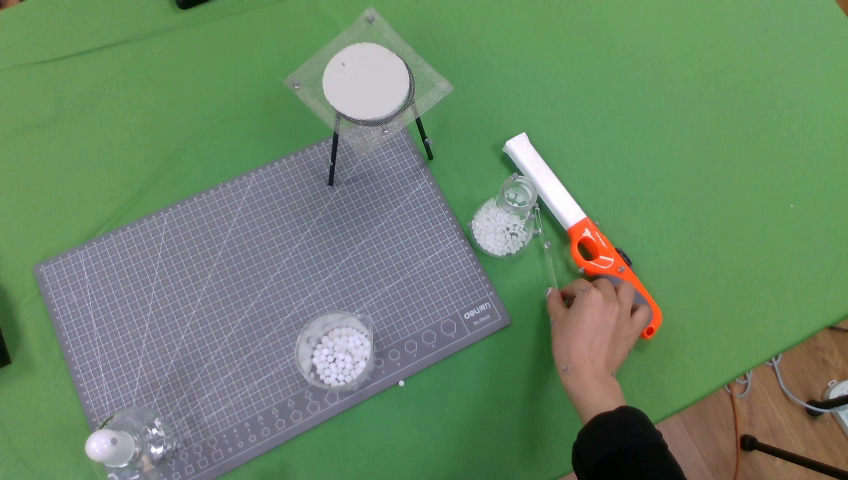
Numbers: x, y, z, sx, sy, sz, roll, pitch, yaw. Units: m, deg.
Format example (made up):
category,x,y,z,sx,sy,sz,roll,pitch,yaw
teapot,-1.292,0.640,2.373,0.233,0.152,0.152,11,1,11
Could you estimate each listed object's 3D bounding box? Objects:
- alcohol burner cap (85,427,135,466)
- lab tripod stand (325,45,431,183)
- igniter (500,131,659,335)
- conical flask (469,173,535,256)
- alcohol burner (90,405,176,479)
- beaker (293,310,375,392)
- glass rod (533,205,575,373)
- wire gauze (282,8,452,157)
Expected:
category,x,y,z,sx,sy,sz,roll,pitch,yaw
alcohol burner cap,-0.284,0.183,0.543,0.034,0.048,0.033,2,64,-4
lab tripod stand,-0.060,-0.136,0.671,0.148,0.132,0.147,1,75,-3
igniter,0.180,-0.012,0.702,0.057,0.025,0.275,-30,78,-21
conical flask,0.091,-0.032,0.655,0.075,0.122,0.075,1,74,-2
alcohol burner,-0.285,0.196,0.578,0.078,0.119,0.077,1,72,-3
beaker,-0.085,0.114,0.616,0.073,0.101,0.084,43,77,10
glass rod,0.145,0.051,0.686,0.008,0.008,0.198,-7,70,-4
wire gauze,-0.057,-0.159,0.608,0.125,0.011,0.121,-42,81,-12
